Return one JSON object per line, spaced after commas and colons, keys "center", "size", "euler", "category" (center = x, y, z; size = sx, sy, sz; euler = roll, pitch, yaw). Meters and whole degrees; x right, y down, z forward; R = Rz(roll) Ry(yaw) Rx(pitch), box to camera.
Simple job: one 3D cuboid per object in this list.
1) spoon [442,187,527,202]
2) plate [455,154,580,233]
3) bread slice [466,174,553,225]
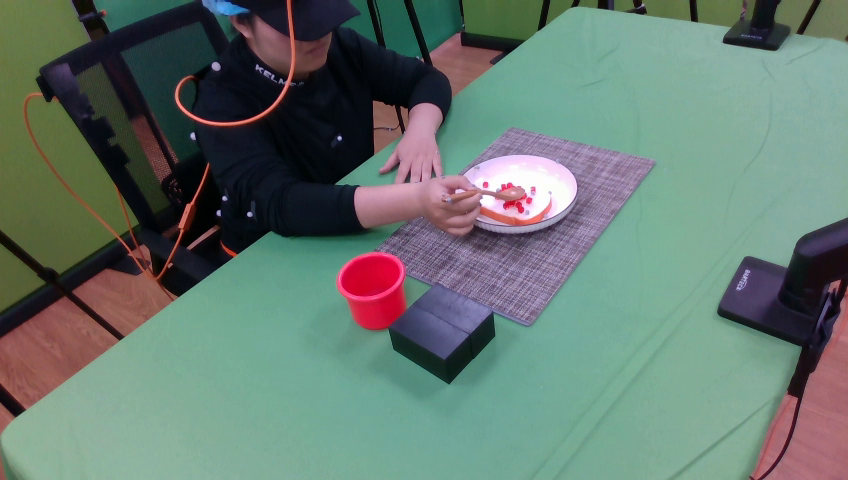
{"center": [0.093, -0.070, 0.927], "size": [0.041, 0.021, 0.195], "euler": [19, 16, 41], "category": "spoon"}
{"center": [0.159, -0.076, 1.028], "size": [0.209, 0.038, 0.208], "euler": [-5, 40, 5], "category": "plate"}
{"center": [0.152, -0.068, 1.022], "size": [0.130, 0.019, 0.105], "euler": [23, 50, 33], "category": "bread slice"}
